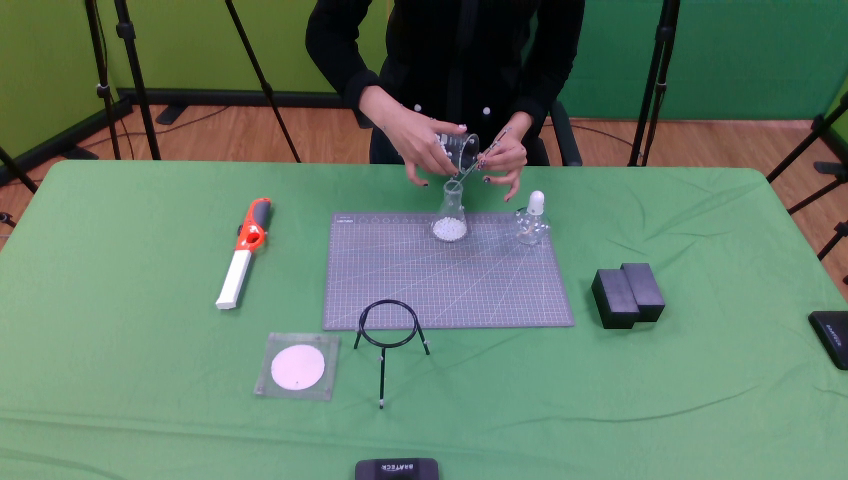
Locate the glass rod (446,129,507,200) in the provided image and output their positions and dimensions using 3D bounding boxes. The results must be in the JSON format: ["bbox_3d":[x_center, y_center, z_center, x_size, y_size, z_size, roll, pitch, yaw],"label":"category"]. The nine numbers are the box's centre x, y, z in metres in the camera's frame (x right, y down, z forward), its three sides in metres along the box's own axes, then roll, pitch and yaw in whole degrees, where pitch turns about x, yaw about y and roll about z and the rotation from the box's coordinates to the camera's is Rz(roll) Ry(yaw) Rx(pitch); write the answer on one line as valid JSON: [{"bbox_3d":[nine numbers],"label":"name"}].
[{"bbox_3d":[0.093,-0.133,1.104,0.008,0.200,0.008,20,47,-22],"label":"glass rod"}]

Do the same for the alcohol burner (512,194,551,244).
[{"bbox_3d":[0.215,-0.048,1.196,0.078,0.119,0.077,4,46,-4],"label":"alcohol burner"}]

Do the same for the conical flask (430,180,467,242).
[{"bbox_3d":[0.052,-0.059,1.188,0.075,0.122,0.075,2,46,-2],"label":"conical flask"}]

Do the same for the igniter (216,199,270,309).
[{"bbox_3d":[-0.341,0.016,1.153,0.057,0.025,0.275,-3,45,7],"label":"igniter"}]

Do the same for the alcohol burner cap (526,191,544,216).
[{"bbox_3d":[0.216,-0.073,1.170,0.034,0.048,0.033,0,42,0],"label":"alcohol burner cap"}]

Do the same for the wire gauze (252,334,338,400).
[{"bbox_3d":[-0.209,0.204,0.996,0.125,0.011,0.120,3,45,1],"label":"wire gauze"}]

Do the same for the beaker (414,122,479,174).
[{"bbox_3d":[0.039,-0.169,1.105,0.100,0.084,0.074,21,45,23],"label":"beaker"}]

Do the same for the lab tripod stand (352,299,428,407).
[{"bbox_3d":[-0.056,0.166,0.958,0.148,0.132,0.147,3,44,-2],"label":"lab tripod stand"}]
